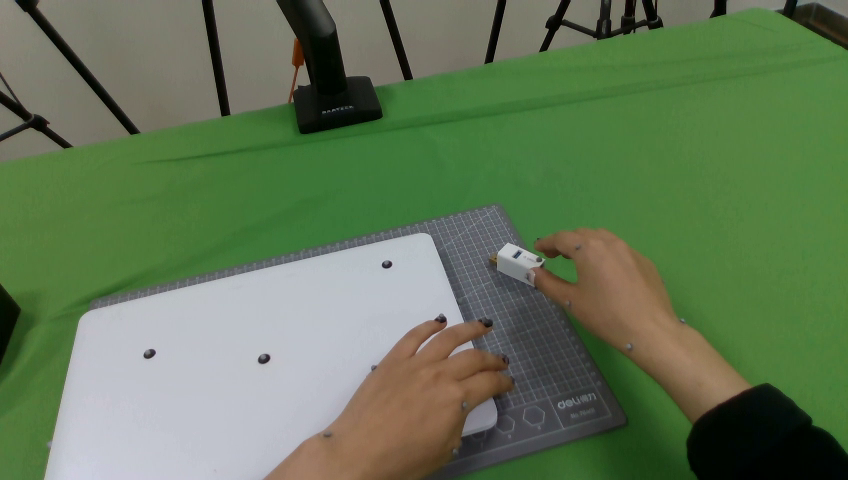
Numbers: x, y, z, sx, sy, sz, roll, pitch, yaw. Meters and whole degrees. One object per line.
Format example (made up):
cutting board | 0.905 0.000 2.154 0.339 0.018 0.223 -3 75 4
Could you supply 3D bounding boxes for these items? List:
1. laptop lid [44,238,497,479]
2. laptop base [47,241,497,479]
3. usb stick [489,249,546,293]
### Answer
laptop lid | -0.137 0.112 0.527 0.357 0.013 0.239 -12 44 -6
laptop base | -0.137 0.119 0.537 0.355 0.023 0.233 -13 45 -7
usb stick | 0.090 0.028 0.597 0.058 0.027 0.021 22 48 34
